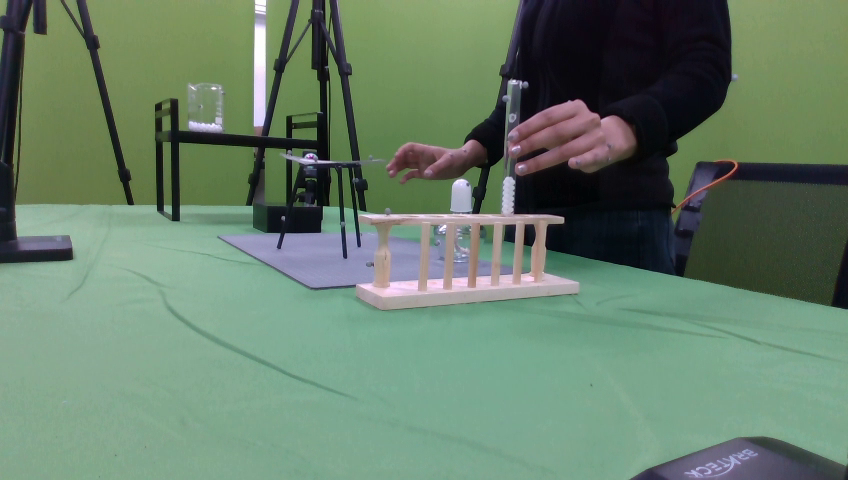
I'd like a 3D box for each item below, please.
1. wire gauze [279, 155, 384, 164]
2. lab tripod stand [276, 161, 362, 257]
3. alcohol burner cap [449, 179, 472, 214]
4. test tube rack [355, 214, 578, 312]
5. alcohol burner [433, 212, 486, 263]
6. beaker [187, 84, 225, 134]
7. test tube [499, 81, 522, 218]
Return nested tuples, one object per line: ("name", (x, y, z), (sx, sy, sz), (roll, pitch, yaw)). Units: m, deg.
("wire gauze", (-0.134, -0.114, 0.875), (0.122, 0.011, 0.124), (-1, 8, -30))
("lab tripod stand", (-0.143, -0.049, 0.884), (0.148, 0.131, 0.148), (2, 9, 0))
("alcohol burner cap", (0.052, -0.063, 0.858), (0.034, 0.048, 0.034), (2, 14, 0))
("test tube rack", (0.053, 0.018, 0.641), (0.243, 0.085, 0.066), (-1, 9, -29))
("alcohol burner", (0.051, -0.027, 0.863), (0.078, 0.119, 0.078), (2, 6, 0))
("beaker", (-0.459, -0.274, 1.271), (0.074, 0.100, 0.084), (3, 8, 7))
("test tube", (0.095, -0.098, 0.666), (0.017, 0.150, 0.017), (3, 5, 0))
